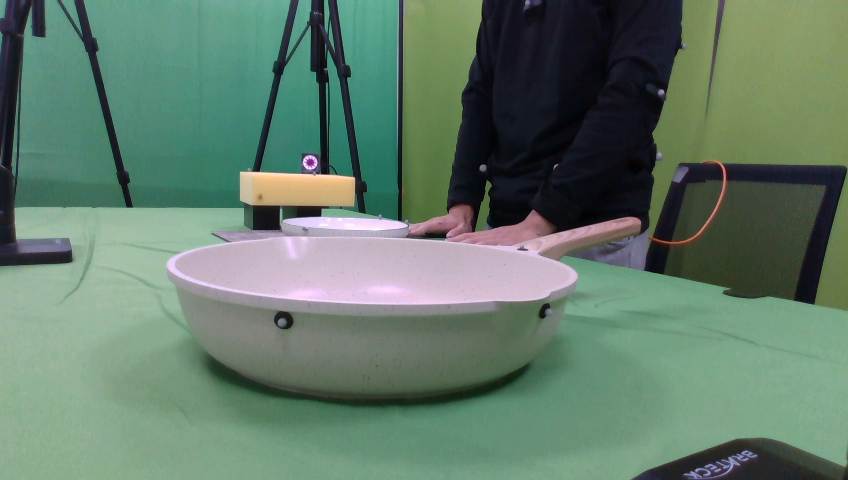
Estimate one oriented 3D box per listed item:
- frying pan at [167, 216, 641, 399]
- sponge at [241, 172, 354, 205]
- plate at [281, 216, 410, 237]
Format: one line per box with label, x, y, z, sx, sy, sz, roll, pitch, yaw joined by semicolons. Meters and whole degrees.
frying pan;0.046;0.024;0.519;0.490;0.102;0.305;-14;16;-37
sponge;-0.257;-0.104;1.226;0.208;0.061;0.117;-2;8;-28
plate;-0.126;-0.012;0.986;0.208;0.039;0.207;2;7;0
